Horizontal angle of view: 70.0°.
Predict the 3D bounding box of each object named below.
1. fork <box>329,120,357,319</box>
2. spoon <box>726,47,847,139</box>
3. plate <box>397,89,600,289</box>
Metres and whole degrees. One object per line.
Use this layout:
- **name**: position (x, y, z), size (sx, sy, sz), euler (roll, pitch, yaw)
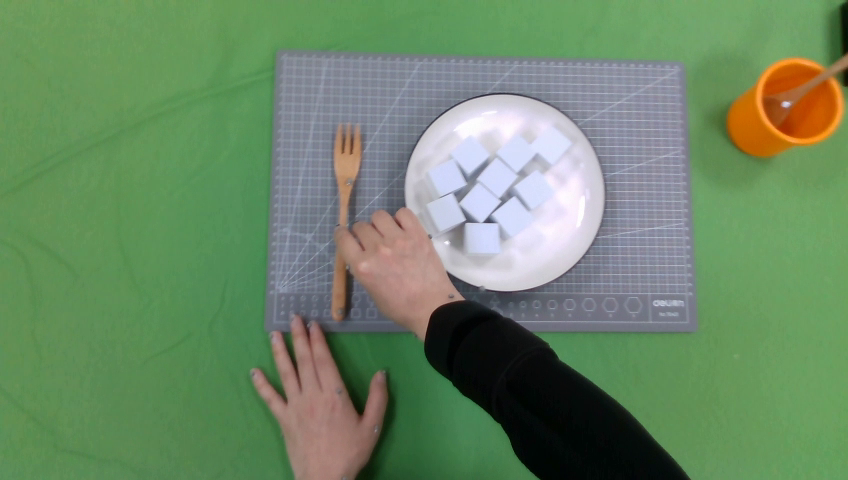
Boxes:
- **fork**: position (-0.087, -0.023, 0.626), size (0.028, 0.018, 0.206), euler (3, 80, -9)
- **spoon**: position (0.398, -0.168, 0.611), size (0.022, 0.194, 0.041), euler (-19, 75, -49)
- **plate**: position (0.076, -0.052, 0.630), size (0.208, 0.039, 0.207), euler (1, 83, -3)
